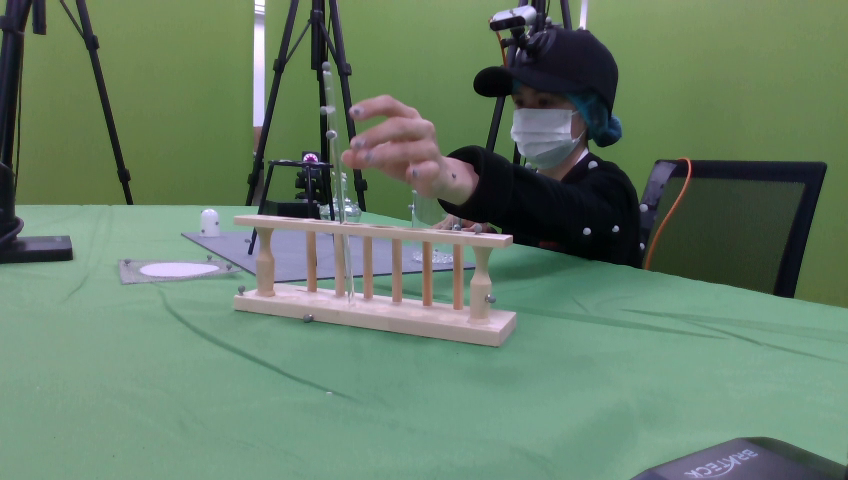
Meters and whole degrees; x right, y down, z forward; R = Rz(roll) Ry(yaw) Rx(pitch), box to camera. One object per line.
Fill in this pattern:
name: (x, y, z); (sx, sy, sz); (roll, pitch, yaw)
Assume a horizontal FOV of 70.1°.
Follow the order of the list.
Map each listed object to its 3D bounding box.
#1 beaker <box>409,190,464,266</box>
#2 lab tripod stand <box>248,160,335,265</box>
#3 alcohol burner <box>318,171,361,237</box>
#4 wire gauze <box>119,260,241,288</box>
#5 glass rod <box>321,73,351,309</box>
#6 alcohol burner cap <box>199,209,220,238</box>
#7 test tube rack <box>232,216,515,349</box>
beaker: (0.018, -0.017, 0.840); (0.074, 0.100, 0.083); (-3, 10, -35)
lab tripod stand: (-0.165, -0.040, 0.817); (0.148, 0.131, 0.148); (5, 7, 0)
alcohol burner: (-0.155, -0.066, 1.104); (0.078, 0.119, 0.078); (1, 8, 0)
wire gauze: (-0.288, 0.034, 0.706); (0.122, 0.011, 0.124); (-3, 10, -29)
glass rod: (-0.073, -0.035, 0.498); (0.008, 0.199, 0.008); (-4, 11, 1)
alcohol burner cap: (-0.356, -0.027, 1.002); (0.034, 0.048, 0.034); (2, 7, 0)
test tube rack: (-0.045, 0.029, 0.525); (0.241, 0.085, 0.067); (5, 8, 19)
